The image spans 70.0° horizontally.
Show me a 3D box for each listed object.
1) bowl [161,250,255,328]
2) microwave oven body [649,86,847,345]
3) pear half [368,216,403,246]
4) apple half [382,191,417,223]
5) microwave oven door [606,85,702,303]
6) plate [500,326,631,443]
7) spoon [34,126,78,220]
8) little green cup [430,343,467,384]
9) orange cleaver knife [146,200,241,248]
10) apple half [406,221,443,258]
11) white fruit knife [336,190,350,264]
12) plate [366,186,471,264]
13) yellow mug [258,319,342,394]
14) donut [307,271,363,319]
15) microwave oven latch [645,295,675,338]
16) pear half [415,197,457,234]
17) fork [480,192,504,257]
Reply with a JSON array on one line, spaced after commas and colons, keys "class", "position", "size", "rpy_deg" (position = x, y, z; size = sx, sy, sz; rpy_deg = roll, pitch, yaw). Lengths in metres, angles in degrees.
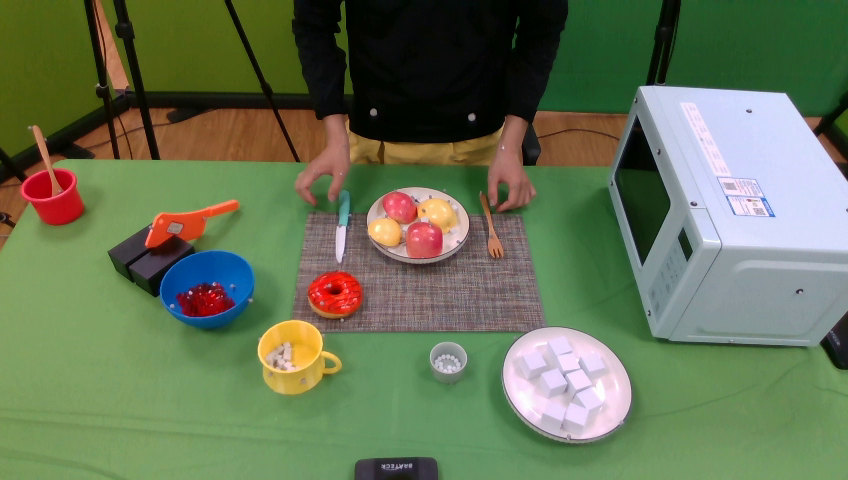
[{"class": "bowl", "position": [-0.362, 0.097, 1.040], "size": [0.151, 0.077, 0.150], "rpy_deg": [2, 45, -2]}, {"class": "microwave oven body", "position": [0.567, -0.053, 1.118], "size": [0.326, 0.261, 0.439], "rpy_deg": [2, 45, -1]}, {"class": "pear half", "position": [-0.070, -0.026, 1.183], "size": [0.070, 0.031, 0.087], "rpy_deg": [32, 46, -2]}, {"class": "apple half", "position": [-0.043, -0.072, 1.225], "size": [0.081, 0.033, 0.081], "rpy_deg": [19, 42, -17]}, {"class": "microwave oven door", "position": [0.422, -0.094, 1.140], "size": [0.039, 0.245, 0.353], "rpy_deg": [2, 46, -1]}, {"class": "plate", "position": [0.224, 0.234, 0.978], "size": [0.208, 0.039, 0.206], "rpy_deg": [2, 46, -2]}, {"class": "spoon", "position": [-0.726, -0.132, 1.188], "size": [0.041, 0.021, 0.194], "rpy_deg": [-18, 95, -20]}, {"class": "little green cup", "position": [0.039, 0.203, 0.994], "size": [0.061, 0.039, 0.061], "rpy_deg": [2, 46, -2]}, {"class": "orange cleaver knife", "position": [-0.435, -0.033, 1.157], "size": [0.012, 0.077, 0.211], "rpy_deg": [31, 26, 19]}, {"class": "apple half", "position": [0.001, -0.006, 1.164], "size": [0.075, 0.053, 0.080], "rpy_deg": [5, 42, 0]}, {"class": "white fruit knife", "position": [-0.164, -0.030, 1.217], "size": [0.027, 0.016, 0.206], "rpy_deg": [-21, 45, 18]}, {"class": "plate", "position": [-0.013, -0.027, 1.207], "size": [0.209, 0.038, 0.208], "rpy_deg": [2, 46, -2]}, {"class": "yellow mug", "position": [-0.196, 0.189, 0.972], "size": [0.131, 0.064, 0.099], "rpy_deg": [9, 46, 3]}, {"class": "donut", "position": [-0.157, 0.097, 1.072], "size": [0.099, 0.048, 0.098], "rpy_deg": [4, 45, -4]}, {"class": "microwave oven latch", "position": [0.411, 0.134, 1.061], "size": [0.030, 0.029, 0.078], "rpy_deg": [3, 45, 0]}, {"class": "pear half", "position": [0.016, -0.065, 1.226], "size": [0.076, 0.056, 0.109], "rpy_deg": [-27, 51, -33]}, {"class": "fork", "position": [0.136, -0.035, 1.241], "size": [0.028, 0.019, 0.206], "rpy_deg": [-10, 46, 3]}]
